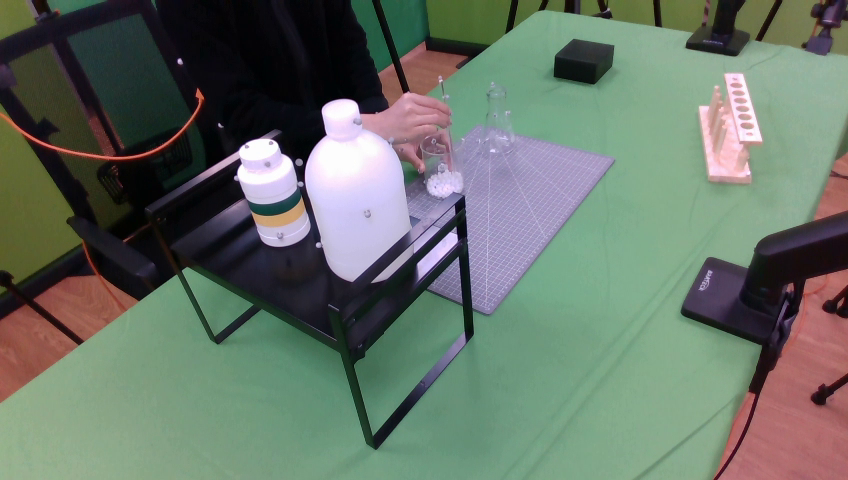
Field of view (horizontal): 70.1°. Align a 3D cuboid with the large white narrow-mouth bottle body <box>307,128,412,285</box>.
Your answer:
[{"bbox_3d":[-0.070,-0.051,0.638,0.102,0.195,0.101,-3,40,3],"label":"large white narrow-mouth bottle body"}]

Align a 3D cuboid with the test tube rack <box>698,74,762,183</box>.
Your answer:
[{"bbox_3d":[0.547,-0.208,1.095,0.066,0.085,0.242,5,42,15],"label":"test tube rack"}]

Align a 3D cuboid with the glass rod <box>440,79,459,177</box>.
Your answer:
[{"bbox_3d":[0.045,-0.183,1.021,0.008,0.201,0.008,-7,45,7],"label":"glass rod"}]

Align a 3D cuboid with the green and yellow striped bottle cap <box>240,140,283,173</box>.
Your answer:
[{"bbox_3d":[-0.183,-0.094,0.679,0.045,0.020,0.045,-4,38,4],"label":"green and yellow striped bottle cap"}]

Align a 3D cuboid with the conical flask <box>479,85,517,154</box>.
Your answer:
[{"bbox_3d":[0.139,-0.231,1.145,0.075,0.122,0.075,-4,41,4],"label":"conical flask"}]

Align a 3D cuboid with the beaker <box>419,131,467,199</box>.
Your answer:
[{"bbox_3d":[0.037,-0.130,1.060,0.084,0.100,0.073,-14,41,-9],"label":"beaker"}]

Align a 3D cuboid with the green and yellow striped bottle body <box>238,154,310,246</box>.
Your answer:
[{"bbox_3d":[-0.178,-0.056,0.714,0.063,0.120,0.063,-4,40,4],"label":"green and yellow striped bottle body"}]

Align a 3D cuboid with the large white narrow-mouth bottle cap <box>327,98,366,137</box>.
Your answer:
[{"bbox_3d":[-0.075,-0.118,0.582,0.038,0.024,0.037,-3,40,3],"label":"large white narrow-mouth bottle cap"}]
